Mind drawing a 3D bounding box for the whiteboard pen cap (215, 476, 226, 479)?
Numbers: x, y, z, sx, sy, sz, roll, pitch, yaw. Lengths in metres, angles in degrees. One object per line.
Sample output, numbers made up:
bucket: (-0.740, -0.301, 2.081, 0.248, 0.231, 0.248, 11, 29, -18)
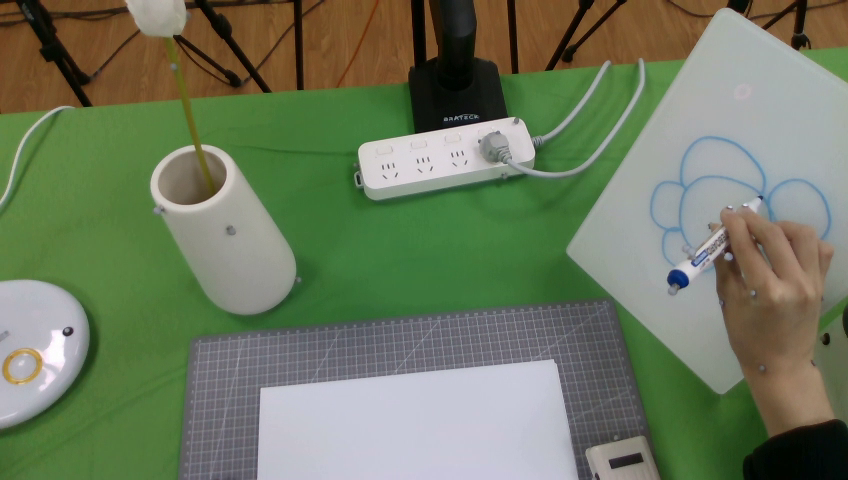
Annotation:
whiteboard pen cap: (-0.193, 0.233, 0.554, 0.018, 0.018, 0.033, 31, 66, 17)

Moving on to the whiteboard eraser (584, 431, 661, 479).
whiteboard eraser: (0.187, 0.232, 0.539, 0.056, 0.042, 0.111, -10, 61, -7)

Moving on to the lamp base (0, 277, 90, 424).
lamp base: (-0.438, 0.067, 0.556, 0.178, 0.182, 0.160, 24, 63, 16)

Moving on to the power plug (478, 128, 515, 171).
power plug: (0.082, -0.098, 0.703, 0.035, 0.053, 0.072, -2, 62, 0)

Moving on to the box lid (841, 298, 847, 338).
box lid: (0.478, 0.185, 0.412, 0.263, 0.015, 0.368, -6, 62, -3)

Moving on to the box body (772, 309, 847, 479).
box body: (0.479, 0.224, 0.477, 0.254, 0.161, 0.360, -6, 61, -3)

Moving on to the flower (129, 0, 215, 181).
flower: (-0.186, -0.062, 0.523, 0.038, 0.365, 0.043, -16, 44, -16)

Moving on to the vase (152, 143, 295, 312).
vase: (-0.190, -0.006, 0.585, 0.098, 0.201, 0.097, -1, 61, 2)

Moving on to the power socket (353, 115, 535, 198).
power socket: (0.026, -0.102, 0.732, 0.227, 0.033, 0.071, -10, 62, -6)

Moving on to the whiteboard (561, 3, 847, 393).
whiteboard: (0.311, -0.039, 0.576, 0.144, 0.307, 0.215, -26, 62, -34)

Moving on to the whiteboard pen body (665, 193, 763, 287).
whiteboard pen body: (0.228, -0.005, 0.466, 0.141, 0.017, 0.017, -33, 65, -30)
